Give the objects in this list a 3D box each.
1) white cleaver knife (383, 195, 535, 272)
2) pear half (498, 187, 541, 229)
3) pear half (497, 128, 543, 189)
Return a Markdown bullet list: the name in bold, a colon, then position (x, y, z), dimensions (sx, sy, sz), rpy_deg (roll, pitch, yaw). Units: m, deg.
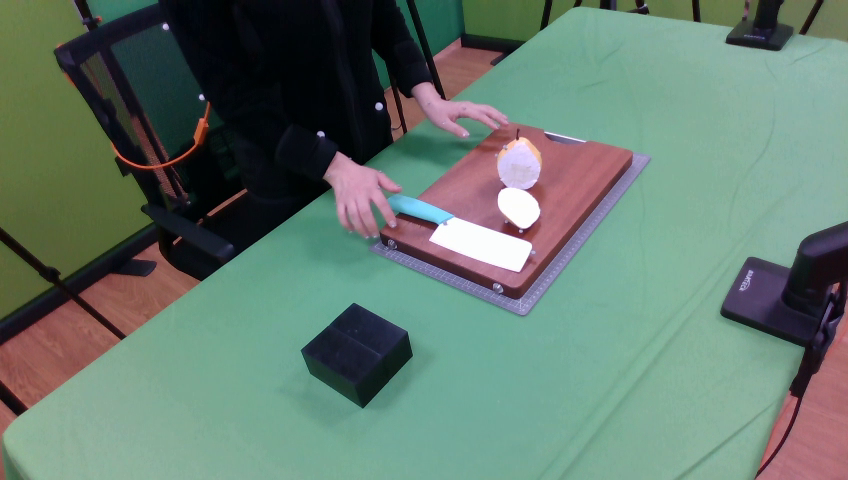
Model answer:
- **white cleaver knife**: position (0.042, -0.016, 0.953), dimensions (0.284, 0.022, 0.066), rpy_deg (21, 58, 33)
- **pear half**: position (0.149, -0.045, 0.957), dimensions (0.070, 0.031, 0.087), rpy_deg (4, 53, -9)
- **pear half**: position (0.162, -0.145, 1.014), dimensions (0.076, 0.110, 0.056), rpy_deg (2, 41, 8)
